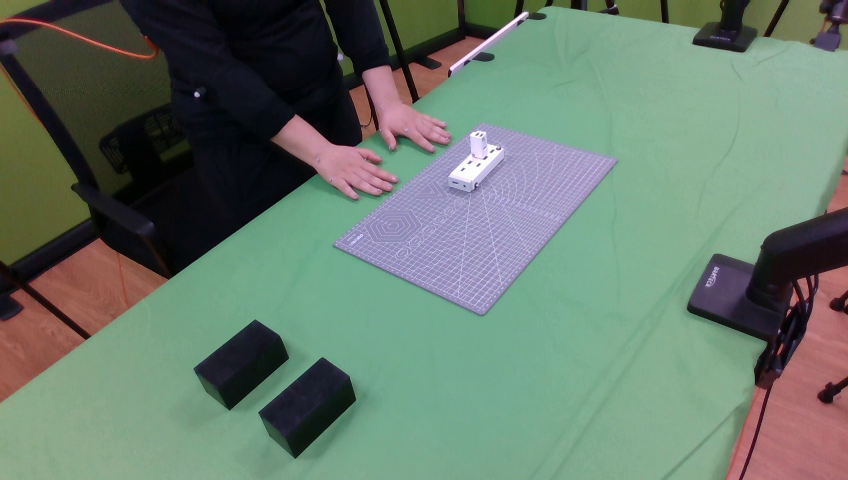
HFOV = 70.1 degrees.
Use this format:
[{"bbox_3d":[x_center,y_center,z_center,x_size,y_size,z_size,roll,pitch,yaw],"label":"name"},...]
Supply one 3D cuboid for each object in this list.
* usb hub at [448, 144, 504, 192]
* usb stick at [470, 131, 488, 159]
[{"bbox_3d":[0.097,-0.133,1.105,0.049,0.025,0.125,20,48,28],"label":"usb hub"},{"bbox_3d":[0.100,-0.166,1.100,0.027,0.059,0.021,18,46,25],"label":"usb stick"}]
